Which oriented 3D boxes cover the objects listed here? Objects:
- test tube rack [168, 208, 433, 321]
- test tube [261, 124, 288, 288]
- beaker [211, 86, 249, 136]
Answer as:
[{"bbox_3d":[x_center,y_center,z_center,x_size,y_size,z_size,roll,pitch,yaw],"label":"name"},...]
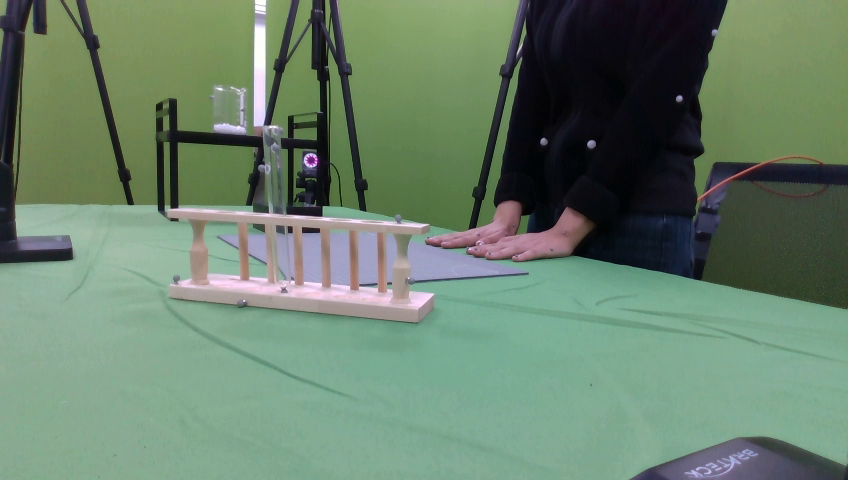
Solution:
[{"bbox_3d":[-0.115,0.017,0.574,0.242,0.085,0.067,4,8,13],"label":"test tube rack"},{"bbox_3d":[-0.137,-0.030,0.555,0.017,0.150,0.017,-2,9,1],"label":"test tube"},{"bbox_3d":[-0.413,-0.274,1.298,0.074,0.100,0.083,-5,11,-44],"label":"beaker"}]
